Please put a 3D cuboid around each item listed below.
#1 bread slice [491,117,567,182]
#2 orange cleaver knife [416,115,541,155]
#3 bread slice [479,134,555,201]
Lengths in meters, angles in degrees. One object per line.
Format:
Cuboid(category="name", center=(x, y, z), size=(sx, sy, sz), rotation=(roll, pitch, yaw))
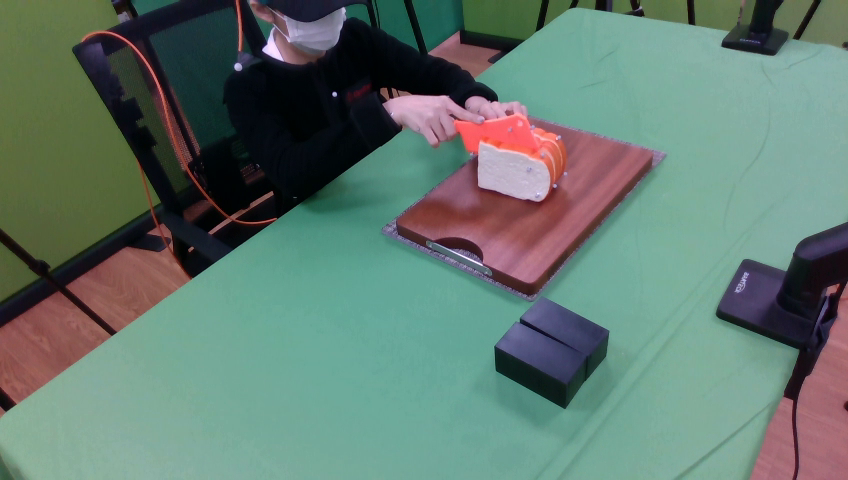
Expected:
Cuboid(category="bread slice", center=(0.172, -0.143, 1.013), size=(0.133, 0.107, 0.018), rotation=(19, 51, 21))
Cuboid(category="orange cleaver knife", center=(0.085, -0.168, 0.976), size=(0.210, 0.077, 0.012), rotation=(7, 46, 30))
Cuboid(category="bread slice", center=(0.147, -0.113, 0.979), size=(0.131, 0.105, 0.019), rotation=(20, 51, 23))
